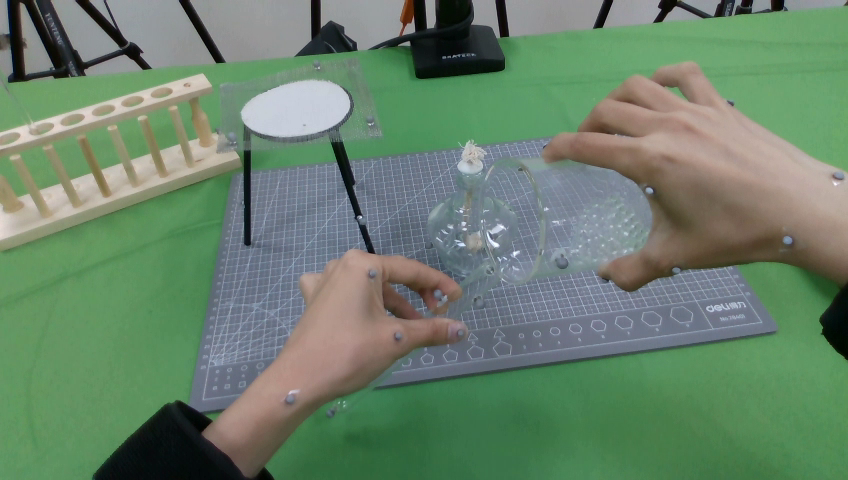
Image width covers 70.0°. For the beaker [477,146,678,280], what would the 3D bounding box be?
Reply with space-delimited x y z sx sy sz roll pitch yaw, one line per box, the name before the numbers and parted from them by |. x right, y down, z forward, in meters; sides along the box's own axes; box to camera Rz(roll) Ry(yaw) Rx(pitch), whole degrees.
beaker | 0.091 -0.017 0.365 0.100 0.084 0.073 -7 49 -21

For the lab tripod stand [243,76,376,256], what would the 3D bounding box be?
lab tripod stand | -0.102 -0.063 0.536 0.148 0.133 0.147 -2 45 3

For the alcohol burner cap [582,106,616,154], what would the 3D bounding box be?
alcohol burner cap | 0.187 -0.120 0.643 0.034 0.048 0.033 -2 43 2

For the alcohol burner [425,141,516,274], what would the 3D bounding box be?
alcohol burner | 0.039 -0.030 0.505 0.078 0.120 0.077 -2 41 2

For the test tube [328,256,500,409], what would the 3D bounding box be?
test tube | -0.010 0.063 0.394 0.150 0.017 0.017 -43 43 16

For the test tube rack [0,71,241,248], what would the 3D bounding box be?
test tube rack | -0.324 -0.087 0.616 0.243 0.086 0.066 -24 47 -20

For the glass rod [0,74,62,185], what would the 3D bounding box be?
glass rod | -0.375 -0.121 0.559 0.008 0.201 0.008 -1 47 2

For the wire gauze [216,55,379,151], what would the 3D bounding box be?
wire gauze | -0.106 -0.112 0.489 0.125 0.011 0.120 -11 44 -7
